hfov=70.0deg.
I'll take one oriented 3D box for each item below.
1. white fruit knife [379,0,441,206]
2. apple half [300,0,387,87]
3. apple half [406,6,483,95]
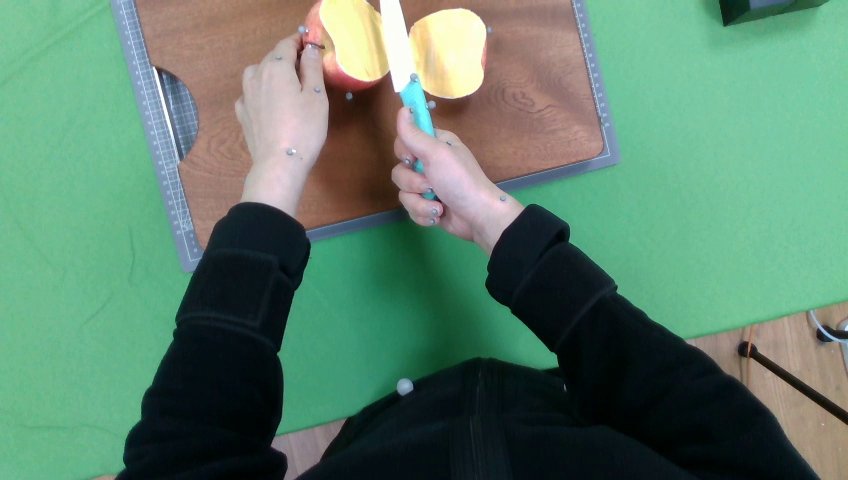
[{"bbox_3d":[-0.015,-0.132,0.509,0.027,0.016,0.207,-12,90,19],"label":"white fruit knife"},{"bbox_3d":[-0.074,-0.174,0.539,0.074,0.053,0.081,-34,103,-41],"label":"apple half"},{"bbox_3d":[0.019,-0.174,0.560,0.081,0.032,0.081,2,103,10],"label":"apple half"}]
